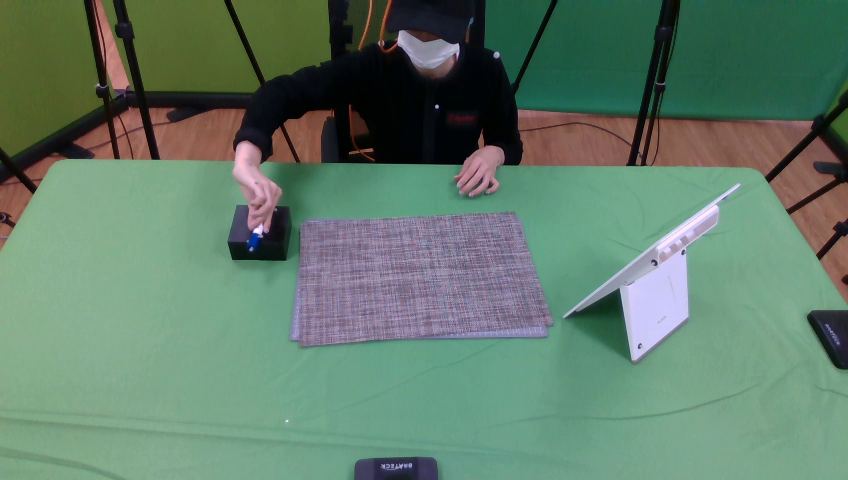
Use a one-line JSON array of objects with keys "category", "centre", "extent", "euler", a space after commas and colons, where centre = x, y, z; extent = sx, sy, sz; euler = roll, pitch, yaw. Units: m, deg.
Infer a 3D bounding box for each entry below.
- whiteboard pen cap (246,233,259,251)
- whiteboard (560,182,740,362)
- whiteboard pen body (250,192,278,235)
[{"category": "whiteboard pen cap", "centre": [-0.311, 0.003, 1.102], "extent": [0.018, 0.018, 0.033], "euler": [8, 45, 3]}, {"category": "whiteboard", "centre": [0.406, 0.075, 1.001], "extent": [0.217, 0.306, 0.143], "euler": [-28, 73, -28]}, {"category": "whiteboard pen body", "centre": [-0.304, -0.042, 1.144], "extent": [0.017, 0.017, 0.140], "euler": [9, 46, 4]}]
